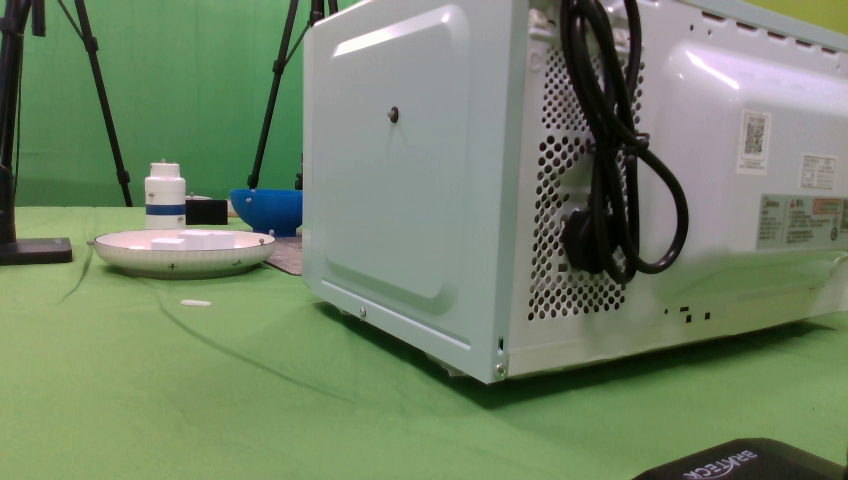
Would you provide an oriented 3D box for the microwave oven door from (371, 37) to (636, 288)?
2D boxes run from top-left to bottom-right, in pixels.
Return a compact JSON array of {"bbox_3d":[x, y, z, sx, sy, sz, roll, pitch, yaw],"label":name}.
[{"bbox_3d":[0.109,-0.080,0.686,0.358,0.243,0.039,-2,9,-33],"label":"microwave oven door"}]

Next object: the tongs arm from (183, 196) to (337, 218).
[{"bbox_3d":[-0.404,-0.081,1.479,0.385,0.026,0.050,3,8,-2],"label":"tongs arm"}]

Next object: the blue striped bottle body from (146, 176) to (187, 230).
[{"bbox_3d":[-0.430,-0.065,1.010,0.063,0.120,0.063,2,7,0],"label":"blue striped bottle body"}]

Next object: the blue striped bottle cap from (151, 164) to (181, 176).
[{"bbox_3d":[-0.428,-0.116,1.002,0.044,0.020,0.044,1,6,0],"label":"blue striped bottle cap"}]

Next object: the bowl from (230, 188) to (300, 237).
[{"bbox_3d":[-0.264,-0.048,1.066,0.151,0.077,0.151,3,8,0],"label":"bowl"}]

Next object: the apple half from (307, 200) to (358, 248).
[{"bbox_3d":[-0.134,-0.024,0.938,0.053,0.074,0.081,14,10,43],"label":"apple half"}]

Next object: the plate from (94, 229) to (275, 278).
[{"bbox_3d":[-0.291,0.016,0.750,0.208,0.039,0.207,2,7,0],"label":"plate"}]

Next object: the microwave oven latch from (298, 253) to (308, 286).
[{"bbox_3d":[-0.081,0.027,0.582,0.079,0.029,0.030,-1,7,-32],"label":"microwave oven latch"}]

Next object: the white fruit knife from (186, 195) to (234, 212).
[{"bbox_3d":[-0.401,-0.071,1.275,0.208,0.027,0.016,10,1,-35],"label":"white fruit knife"}]

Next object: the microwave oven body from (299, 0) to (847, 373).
[{"bbox_3d":[0.152,-0.055,0.542,0.444,0.260,0.324,-2,7,-33],"label":"microwave oven body"}]

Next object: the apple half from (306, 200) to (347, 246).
[{"bbox_3d":[-0.162,-0.029,0.965,0.032,0.081,0.082,13,13,43],"label":"apple half"}]

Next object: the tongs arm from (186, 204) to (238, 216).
[{"bbox_3d":[-0.396,-0.067,1.399,0.389,0.028,0.028,1,5,-15],"label":"tongs arm"}]
